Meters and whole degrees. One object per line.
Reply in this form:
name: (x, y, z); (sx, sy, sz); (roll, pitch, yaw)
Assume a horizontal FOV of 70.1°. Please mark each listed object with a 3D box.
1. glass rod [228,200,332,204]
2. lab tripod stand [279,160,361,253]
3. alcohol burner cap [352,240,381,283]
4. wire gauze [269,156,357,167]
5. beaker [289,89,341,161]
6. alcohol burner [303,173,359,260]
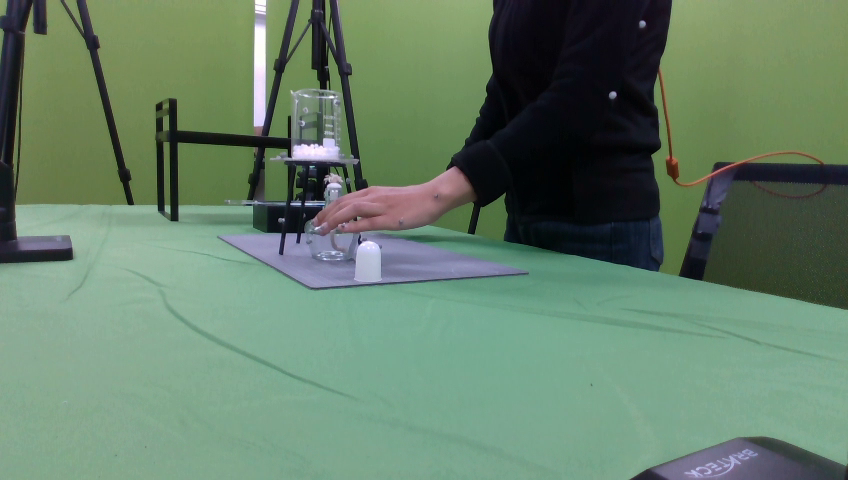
glass rod: (-0.269, -0.072, 1.149); (0.201, 0.008, 0.008); (-1, 8, -30)
lab tripod stand: (-0.166, -0.052, 0.897); (0.148, 0.131, 0.148); (1, 7, 0)
alcohol burner cap: (-0.065, 0.023, 0.690); (0.034, 0.048, 0.034); (2, 8, 0)
wire gauze: (-0.159, -0.116, 0.886); (0.122, 0.011, 0.125); (2, 4, -9)
beaker: (-0.161, -0.164, 0.879); (0.073, 0.100, 0.084); (6, 8, 35)
alcohol burner: (-0.127, -0.033, 0.830); (0.078, 0.119, 0.078); (0, 5, 0)
